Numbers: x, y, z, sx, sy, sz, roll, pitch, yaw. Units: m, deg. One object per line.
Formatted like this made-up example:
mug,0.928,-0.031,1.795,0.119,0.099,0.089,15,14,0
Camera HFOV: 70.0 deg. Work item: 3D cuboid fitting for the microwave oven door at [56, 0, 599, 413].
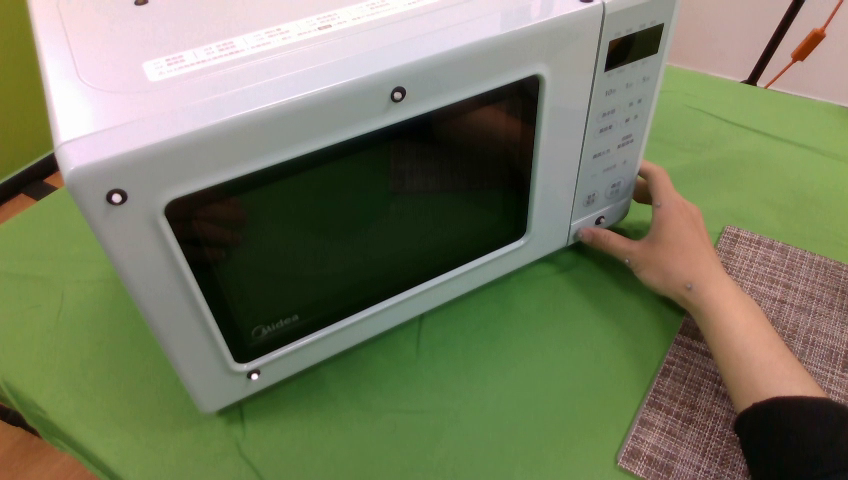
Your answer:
microwave oven door,-0.031,-0.023,0.454,0.356,0.246,0.039,-23,47,-19

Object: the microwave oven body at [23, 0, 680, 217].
microwave oven body,-0.065,-0.121,0.564,0.442,0.263,0.322,-24,48,-18

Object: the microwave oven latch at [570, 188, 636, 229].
microwave oven latch,0.167,-0.035,0.598,0.079,0.030,0.030,-15,46,-10
